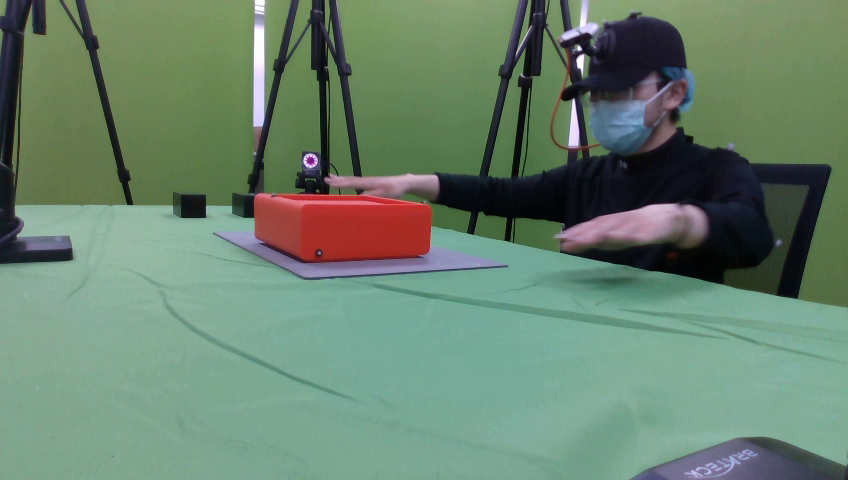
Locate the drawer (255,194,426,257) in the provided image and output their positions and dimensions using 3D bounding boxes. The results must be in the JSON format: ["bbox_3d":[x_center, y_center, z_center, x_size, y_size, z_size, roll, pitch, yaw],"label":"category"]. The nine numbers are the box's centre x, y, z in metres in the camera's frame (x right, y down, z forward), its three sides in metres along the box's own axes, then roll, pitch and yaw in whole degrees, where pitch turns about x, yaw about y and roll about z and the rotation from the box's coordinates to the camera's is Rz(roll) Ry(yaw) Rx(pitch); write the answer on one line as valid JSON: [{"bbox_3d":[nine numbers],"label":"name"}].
[{"bbox_3d":[-0.130,-0.026,0.912,0.195,0.073,0.210,-1,9,-31],"label":"drawer"}]

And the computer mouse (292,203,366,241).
[{"bbox_3d":[-0.151,-0.029,0.956,0.117,0.041,0.062,-11,24,-2],"label":"computer mouse"}]

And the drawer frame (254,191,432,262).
[{"bbox_3d":[-0.128,-0.027,0.911,0.203,0.082,0.212,-1,9,-32],"label":"drawer frame"}]
